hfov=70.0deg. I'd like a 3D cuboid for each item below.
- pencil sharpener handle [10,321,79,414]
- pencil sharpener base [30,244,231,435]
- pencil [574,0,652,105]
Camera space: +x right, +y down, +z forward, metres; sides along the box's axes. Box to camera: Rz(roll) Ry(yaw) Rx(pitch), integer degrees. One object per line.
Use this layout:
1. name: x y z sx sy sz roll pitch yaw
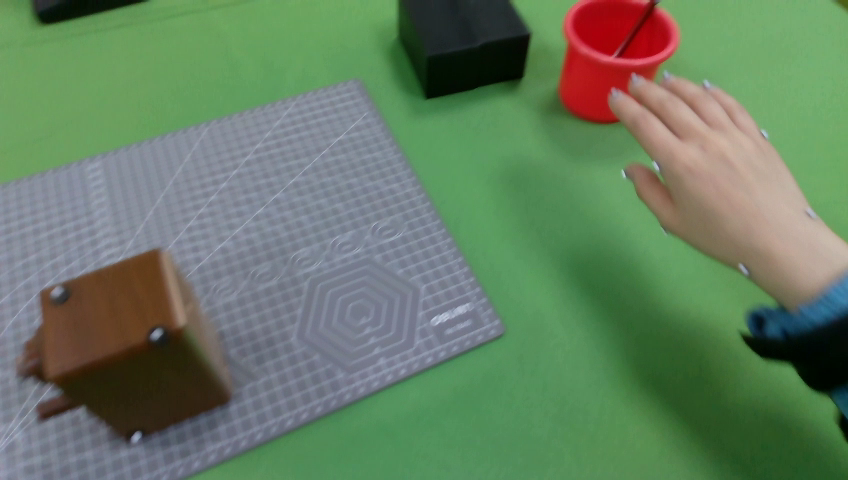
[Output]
1. pencil sharpener handle: -0.217 0.076 0.341 0.031 0.068 0.035 -21 52 -14
2. pencil sharpener base: -0.172 0.064 0.365 0.077 0.108 0.060 -21 58 -14
3. pencil: 0.189 -0.202 0.530 0.012 0.012 0.194 39 104 23
